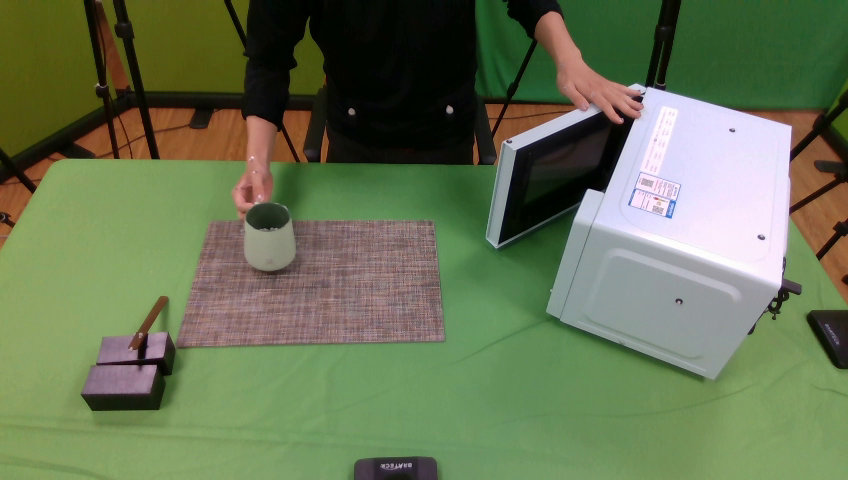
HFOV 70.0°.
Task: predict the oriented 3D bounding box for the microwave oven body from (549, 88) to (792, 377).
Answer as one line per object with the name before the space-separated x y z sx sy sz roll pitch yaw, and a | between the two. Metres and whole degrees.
microwave oven body | 0.456 -0.028 1.088 0.325 0.261 0.440 20 47 16

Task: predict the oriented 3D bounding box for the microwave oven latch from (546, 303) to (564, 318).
microwave oven latch | 0.242 0.102 1.081 0.030 0.029 0.079 21 48 17

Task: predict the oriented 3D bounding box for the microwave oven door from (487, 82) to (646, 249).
microwave oven door | 0.280 -0.148 1.182 0.356 0.245 0.039 -27 52 -26

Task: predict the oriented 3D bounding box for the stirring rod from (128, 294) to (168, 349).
stirring rod | -0.451 0.131 0.996 0.014 0.006 0.175 9 21 -10

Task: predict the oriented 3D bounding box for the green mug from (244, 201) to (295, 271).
green mug | -0.289 -0.016 1.111 0.092 0.105 0.124 -15 49 -23
